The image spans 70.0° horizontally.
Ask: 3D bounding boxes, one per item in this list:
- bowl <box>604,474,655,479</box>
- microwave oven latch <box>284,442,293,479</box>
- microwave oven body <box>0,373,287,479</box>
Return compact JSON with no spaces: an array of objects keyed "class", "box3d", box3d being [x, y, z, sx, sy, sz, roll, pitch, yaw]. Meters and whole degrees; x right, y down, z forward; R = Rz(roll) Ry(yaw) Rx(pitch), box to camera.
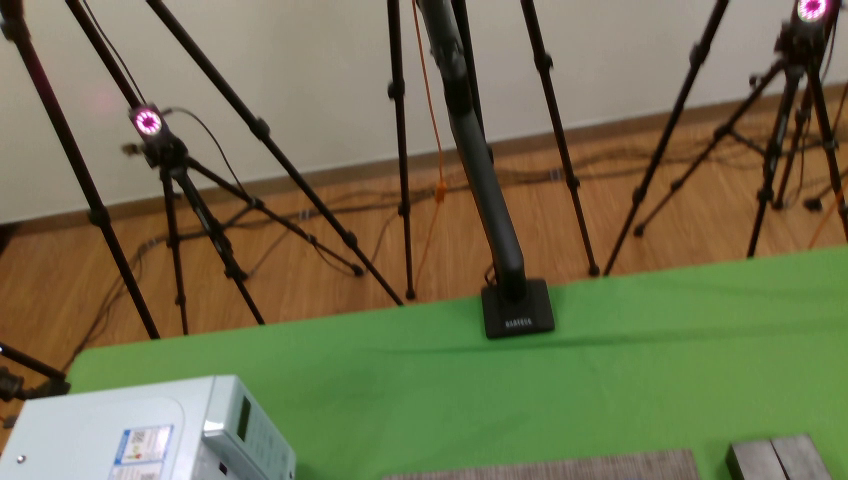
[{"class":"bowl","box3d":[0.263,0.379,0.751,0.151,0.077,0.150,-7,46,8]},{"class":"microwave oven latch","box3d":[-0.216,0.346,0.911,0.030,0.030,0.078,-8,47,6]},{"class":"microwave oven body","box3d":[-0.372,0.430,0.735,0.326,0.263,0.437,-9,46,5]}]
